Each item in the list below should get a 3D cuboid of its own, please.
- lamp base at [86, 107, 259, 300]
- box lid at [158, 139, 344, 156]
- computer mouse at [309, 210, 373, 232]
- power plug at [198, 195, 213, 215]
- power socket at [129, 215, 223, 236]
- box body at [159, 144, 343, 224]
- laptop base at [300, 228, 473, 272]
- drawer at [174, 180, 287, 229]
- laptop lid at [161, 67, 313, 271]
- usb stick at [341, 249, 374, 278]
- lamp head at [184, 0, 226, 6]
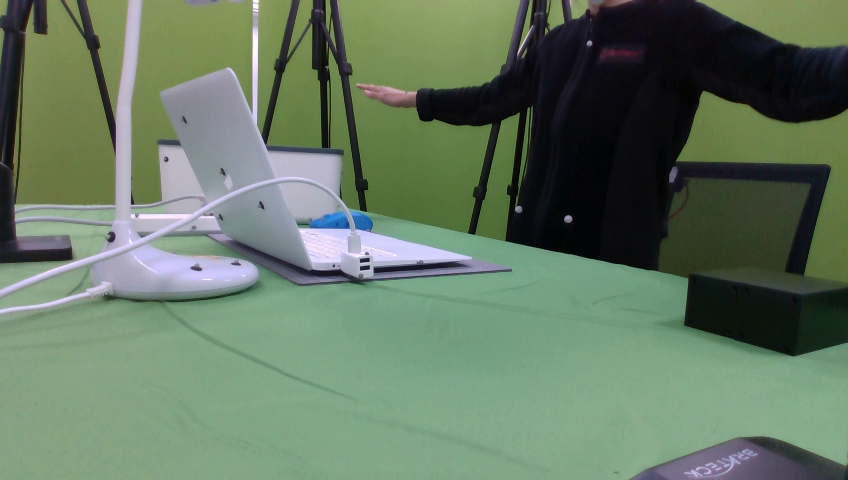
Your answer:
[{"bbox_3d":[-0.255,-0.039,0.603,0.160,0.180,0.179,4,10,18],"label":"lamp base"},{"bbox_3d":[-0.363,-0.201,1.328,0.372,0.015,0.262,2,7,-8],"label":"box lid"},{"bbox_3d":[-0.157,-0.034,1.139,0.118,0.041,0.062,-6,12,-28],"label":"computer mouse"},{"bbox_3d":[-0.386,-0.055,1.088,0.035,0.052,0.072,-2,7,-24],"label":"power plug"},{"bbox_3d":[-0.397,-0.028,1.048,0.228,0.032,0.072,-3,7,-35],"label":"power socket"},{"bbox_3d":[-0.364,-0.128,1.337,0.365,0.160,0.253,1,7,-8],"label":"box body"},{"bbox_3d":[-0.124,0.011,0.889,0.237,0.023,0.352,1,7,-35],"label":"laptop base"},{"bbox_3d":[-0.413,-0.080,1.325,0.212,0.073,0.194,-8,11,-8],"label":"drawer"},{"bbox_3d":[-0.255,-0.090,0.782,0.013,0.242,0.355,-29,24,-28],"label":"laptop lid"},{"bbox_3d":[-0.079,0.026,0.687,0.021,0.027,0.059,-7,9,-30],"label":"usb stick"},{"bbox_3d":[-0.229,-0.320,0.627,0.112,0.112,0.123,6,-36,26],"label":"lamp head"}]
